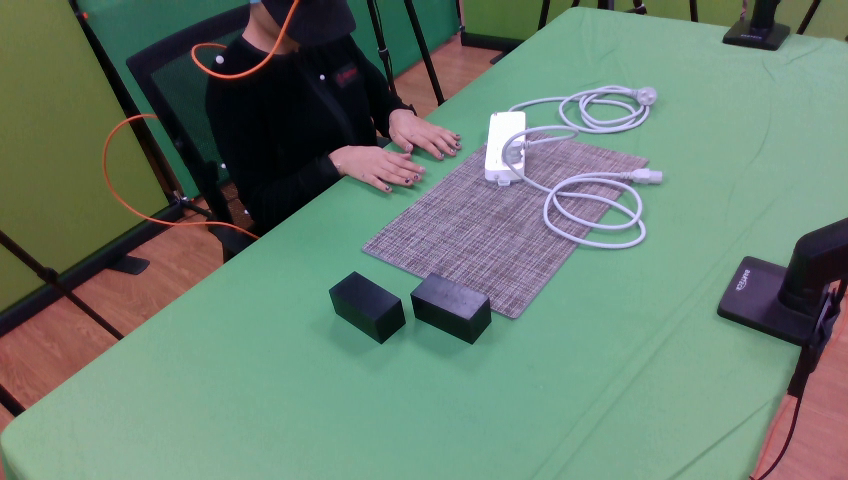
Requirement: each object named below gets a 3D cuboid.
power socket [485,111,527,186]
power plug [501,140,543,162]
[{"bbox_3d":[0.159,-0.181,1.153,0.072,0.033,0.226,0,40,11],"label":"power socket"},{"bbox_3d":[0.174,-0.150,1.078,0.072,0.053,0.035,6,42,20],"label":"power plug"}]
